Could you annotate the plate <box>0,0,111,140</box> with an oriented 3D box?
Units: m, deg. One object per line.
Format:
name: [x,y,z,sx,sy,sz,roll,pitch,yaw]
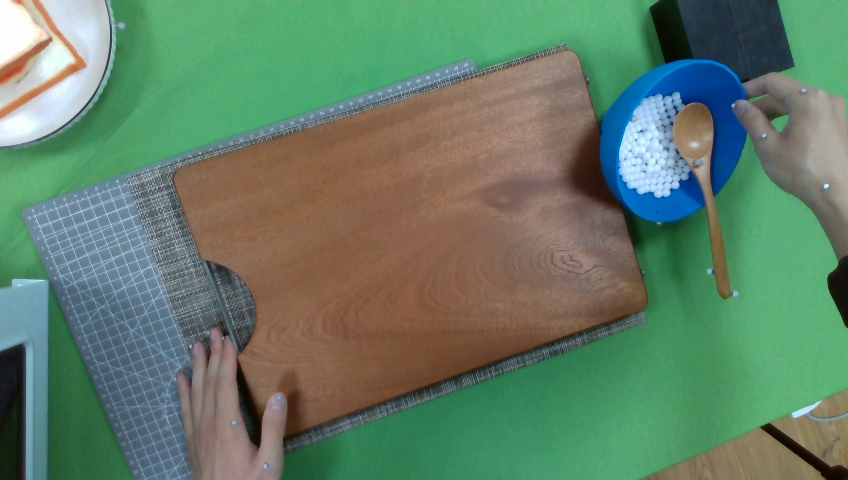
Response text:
plate: [-0.381,-0.190,0.531,0.208,0.039,0.208,0,94,-7]

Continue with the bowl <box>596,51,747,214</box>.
bowl: [0.220,-0.108,0.580,0.152,0.076,0.152,-10,118,-20]

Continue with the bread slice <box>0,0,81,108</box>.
bread slice: [-0.388,-0.188,0.530,0.105,0.019,0.132,-34,98,-5]

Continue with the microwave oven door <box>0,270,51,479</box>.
microwave oven door: [-0.349,0.212,0.445,0.039,0.243,0.356,2,94,-7]

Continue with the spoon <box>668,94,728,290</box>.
spoon: [0.272,-0.044,0.587,0.042,0.021,0.194,-14,94,-8]

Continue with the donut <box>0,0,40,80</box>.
donut: [-0.375,-0.182,0.503,0.099,0.048,0.099,-1,96,-13]

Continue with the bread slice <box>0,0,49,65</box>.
bread slice: [-0.377,-0.186,0.473,0.107,0.018,0.134,-37,92,-2]
